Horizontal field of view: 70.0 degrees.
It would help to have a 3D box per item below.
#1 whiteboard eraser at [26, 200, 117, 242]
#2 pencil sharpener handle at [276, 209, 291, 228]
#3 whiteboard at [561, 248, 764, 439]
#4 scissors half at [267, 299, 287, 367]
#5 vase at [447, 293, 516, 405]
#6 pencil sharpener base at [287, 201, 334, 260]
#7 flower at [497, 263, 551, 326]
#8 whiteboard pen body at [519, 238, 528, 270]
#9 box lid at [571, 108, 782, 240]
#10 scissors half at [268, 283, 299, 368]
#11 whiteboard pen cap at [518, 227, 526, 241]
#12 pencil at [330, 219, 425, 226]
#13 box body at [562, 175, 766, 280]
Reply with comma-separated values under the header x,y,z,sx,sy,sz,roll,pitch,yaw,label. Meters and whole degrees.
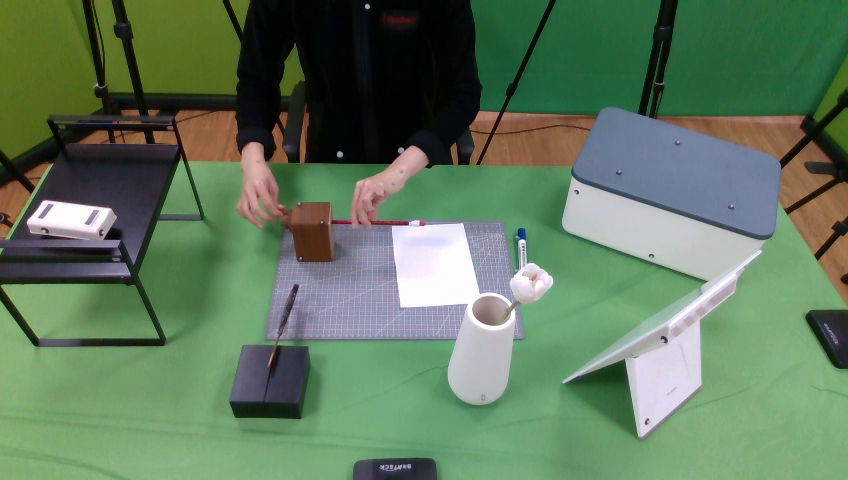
x,y,z,sx,sy,sz,roll,pitch,yaw,label
-0.532,-0.026,0.919,0.113,0.042,0.055,7,45,3,whiteboard eraser
-0.262,-0.041,1.123,0.031,0.036,0.067,-1,23,-4,pencil sharpener handle
0.386,0.176,0.905,0.217,0.306,0.143,-26,72,-27,whiteboard
-0.239,0.150,0.997,0.013,0.040,0.174,24,24,-13,scissors half
0.091,0.169,0.921,0.098,0.201,0.097,3,47,-3,vase
-0.211,-0.016,1.133,0.077,0.107,0.061,-1,47,-4,pencil sharpener base
0.103,0.121,0.852,0.044,0.363,0.038,-2,64,-9,flower
0.193,0.035,1.180,0.017,0.017,0.140,6,48,1,whiteboard pen body
0.491,-0.139,1.168,0.370,0.015,0.262,21,49,15,box lid
-0.230,0.135,0.986,0.013,0.040,0.174,19,43,-11,scissors half
0.197,-0.009,1.220,0.018,0.018,0.033,5,51,1,whiteboard pen cap
-0.096,-0.033,1.115,0.194,0.012,0.012,1,46,3,pencil
0.486,-0.088,1.222,0.363,0.161,0.253,20,48,15,box body
